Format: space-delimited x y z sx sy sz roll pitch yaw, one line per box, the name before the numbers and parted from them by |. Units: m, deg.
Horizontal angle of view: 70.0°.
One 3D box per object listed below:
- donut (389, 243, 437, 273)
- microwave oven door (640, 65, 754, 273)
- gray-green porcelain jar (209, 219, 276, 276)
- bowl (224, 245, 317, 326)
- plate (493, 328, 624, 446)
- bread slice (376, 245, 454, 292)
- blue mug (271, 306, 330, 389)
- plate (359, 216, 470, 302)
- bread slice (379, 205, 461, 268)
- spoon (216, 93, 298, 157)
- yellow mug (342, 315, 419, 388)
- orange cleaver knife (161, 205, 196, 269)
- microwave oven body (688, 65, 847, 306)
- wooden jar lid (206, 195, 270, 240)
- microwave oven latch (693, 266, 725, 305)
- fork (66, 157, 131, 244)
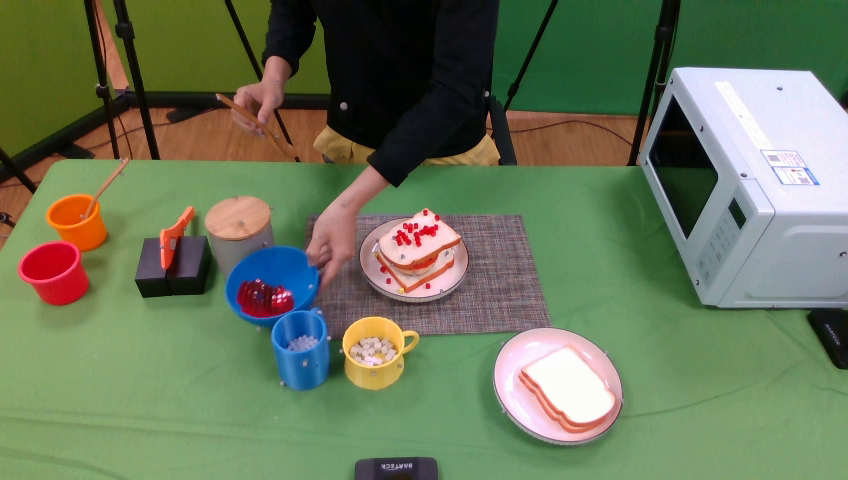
donut | -0.023 0.018 1.120 0.099 0.048 0.098 -10 48 11
microwave oven door | 0.522 -0.147 1.193 0.039 0.245 0.353 0 47 -3
gray-green porcelain jar | -0.323 0.007 1.092 0.106 0.127 0.105 2 46 -2
bowl | -0.248 0.090 1.015 0.151 0.077 0.150 -2 49 2
plate | 0.213 0.236 0.974 0.208 0.039 0.206 2 46 -2
bread slice | -0.010 0.033 1.150 0.131 0.019 0.104 -28 56 -24
blue mug | -0.188 0.163 0.969 0.082 0.106 0.116 15 47 10
plate | -0.019 0.038 1.140 0.209 0.038 0.208 2 46 -2
bread slice | -0.013 -0.002 1.097 0.134 0.018 0.106 -34 50 -23
spoon | -0.298 -0.208 1.097 0.021 0.195 0.041 -27 52 17
yellow mug | -0.068 0.177 0.990 0.131 0.064 0.099 -15 50 -20
orange cleaver knife | -0.454 -0.010 1.129 0.012 0.077 0.210 -2 20 -5
microwave oven body | 0.669 -0.111 1.176 0.326 0.261 0.439 0 46 -3
wooden jar lid | -0.319 -0.036 1.046 0.108 0.021 0.107 1 44 0
microwave oven latch | 0.523 0.081 1.115 0.030 0.029 0.078 3 46 0
fork | -0.608 -0.074 1.132 0.207 0.019 0.028 -52 48 10
